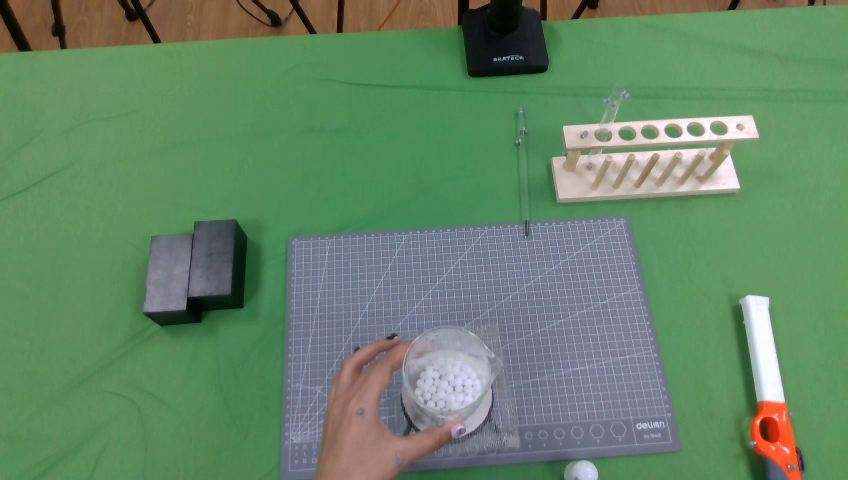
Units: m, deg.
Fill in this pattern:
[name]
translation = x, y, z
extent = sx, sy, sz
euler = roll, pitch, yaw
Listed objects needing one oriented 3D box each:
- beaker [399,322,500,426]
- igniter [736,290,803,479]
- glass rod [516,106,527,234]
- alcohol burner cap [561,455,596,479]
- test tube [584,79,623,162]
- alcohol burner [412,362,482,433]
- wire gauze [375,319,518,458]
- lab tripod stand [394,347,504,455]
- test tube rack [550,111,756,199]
[beaker]
translation = 0.022, 0.123, 0.537
extent = 0.084, 0.101, 0.073
euler = -8, 65, -2
[igniter]
translation = 0.394, 0.190, 0.692
extent = 0.057, 0.025, 0.274
euler = 7, 66, -8
[glass rod]
translation = 0.134, -0.099, 0.830
extent = 0.008, 0.008, 0.198
euler = 1, 68, 0
[alcohol burner cap]
translation = 0.171, 0.250, 0.659
extent = 0.034, 0.048, 0.033
euler = 0, 65, 1
[test tube]
translation = 0.221, -0.144, 0.754
extent = 0.017, 0.151, 0.017
euler = -1, 63, 2
[alcohol burner]
translation = 0.025, 0.166, 0.654
extent = 0.078, 0.120, 0.077
euler = 1, 64, -1
[wire gauze]
translation = 0.019, 0.140, 0.582
extent = 0.125, 0.011, 0.120
euler = -7, 64, -1
[lab tripod stand]
translation = 0.021, 0.170, 0.641
extent = 0.148, 0.132, 0.147
euler = -1, 65, 2
[test tube rack]
translation = 0.296, -0.110, 0.793
extent = 0.242, 0.086, 0.066
euler = -4, 66, -1
